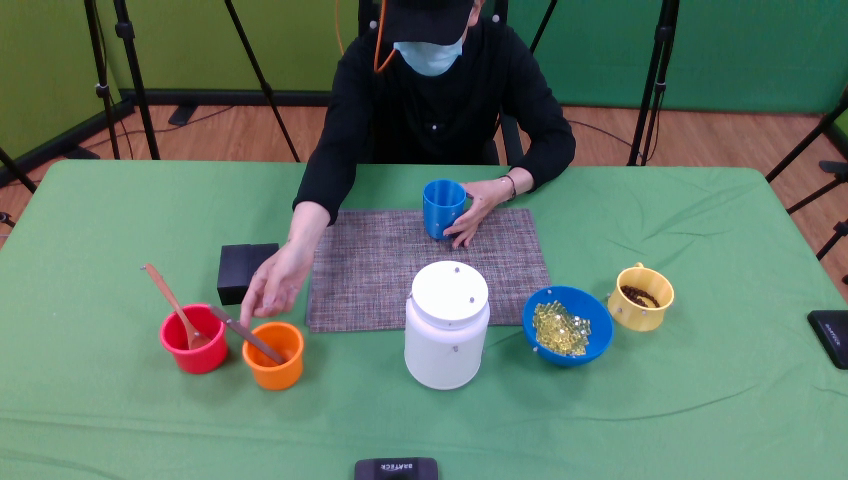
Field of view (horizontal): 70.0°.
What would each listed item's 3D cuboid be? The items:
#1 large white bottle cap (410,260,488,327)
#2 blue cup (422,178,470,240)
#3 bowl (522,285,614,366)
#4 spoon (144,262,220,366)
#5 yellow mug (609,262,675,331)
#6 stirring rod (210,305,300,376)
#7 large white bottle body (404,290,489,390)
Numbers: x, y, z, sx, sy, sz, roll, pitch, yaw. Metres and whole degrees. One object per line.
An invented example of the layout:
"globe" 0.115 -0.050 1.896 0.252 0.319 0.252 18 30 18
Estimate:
"large white bottle cap" 0.037 0.077 0.893 0.115 0.018 0.114 2 47 -2
"blue cup" 0.036 -0.055 1.192 0.093 0.101 0.092 3 45 -2
"bowl" 0.235 0.158 1.022 0.151 0.077 0.150 2 46 -2
"spoon" -0.389 0.118 0.971 0.041 0.021 0.194 -34 101 -33
"yellow mug" 0.393 0.094 1.103 0.100 0.064 0.130 7 45 4
"stirring rod" -0.262 0.158 0.946 0.177 0.006 0.014 43 43 -21
"large white bottle body" 0.033 0.136 0.955 0.131 0.185 0.130 2 46 -2
